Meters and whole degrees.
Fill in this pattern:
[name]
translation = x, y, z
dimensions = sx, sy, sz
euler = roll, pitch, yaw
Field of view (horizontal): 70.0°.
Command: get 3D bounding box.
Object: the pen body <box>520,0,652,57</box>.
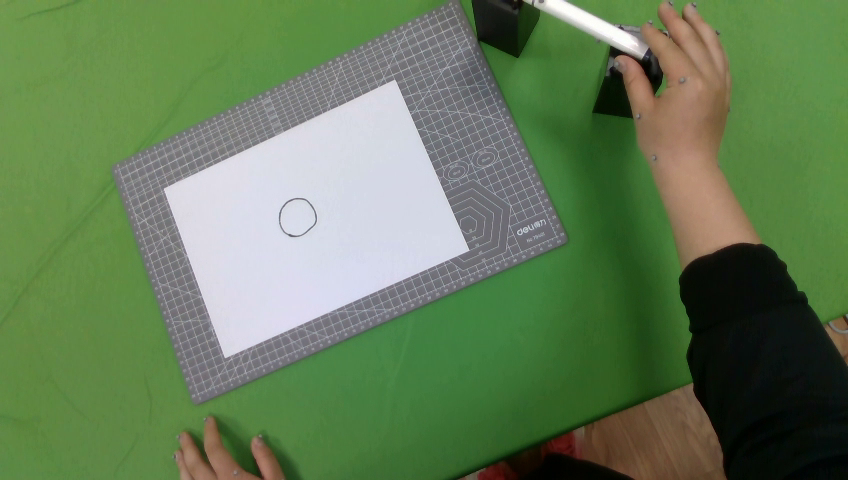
[pen body]
translation = 0.136, -0.200, 0.547
dimensions = 0.143, 0.017, 0.017
euler = 28, 89, 10

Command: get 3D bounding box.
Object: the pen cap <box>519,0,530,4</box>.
[pen cap]
translation = 0.082, -0.232, 0.558
dimensions = 0.038, 0.017, 0.017
euler = 29, 89, 12
